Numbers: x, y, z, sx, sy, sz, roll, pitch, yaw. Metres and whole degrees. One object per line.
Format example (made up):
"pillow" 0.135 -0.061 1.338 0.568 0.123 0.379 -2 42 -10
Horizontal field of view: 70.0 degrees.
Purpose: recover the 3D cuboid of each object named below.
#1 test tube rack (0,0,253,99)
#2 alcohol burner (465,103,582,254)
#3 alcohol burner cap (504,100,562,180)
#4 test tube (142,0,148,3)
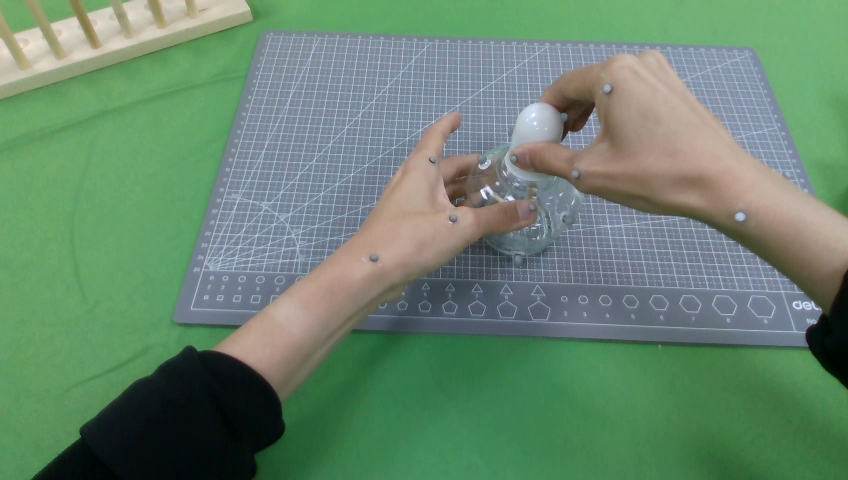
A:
"test tube rack" -0.281 -0.205 0.514 0.242 0.086 0.066 -24 59 -17
"alcohol burner" 0.066 -0.043 0.389 0.078 0.120 0.077 1 56 -2
"alcohol burner cap" 0.067 -0.062 0.363 0.034 0.048 0.033 0 54 0
"test tube" -0.252 -0.268 0.494 0.017 0.151 0.017 -2 47 2
